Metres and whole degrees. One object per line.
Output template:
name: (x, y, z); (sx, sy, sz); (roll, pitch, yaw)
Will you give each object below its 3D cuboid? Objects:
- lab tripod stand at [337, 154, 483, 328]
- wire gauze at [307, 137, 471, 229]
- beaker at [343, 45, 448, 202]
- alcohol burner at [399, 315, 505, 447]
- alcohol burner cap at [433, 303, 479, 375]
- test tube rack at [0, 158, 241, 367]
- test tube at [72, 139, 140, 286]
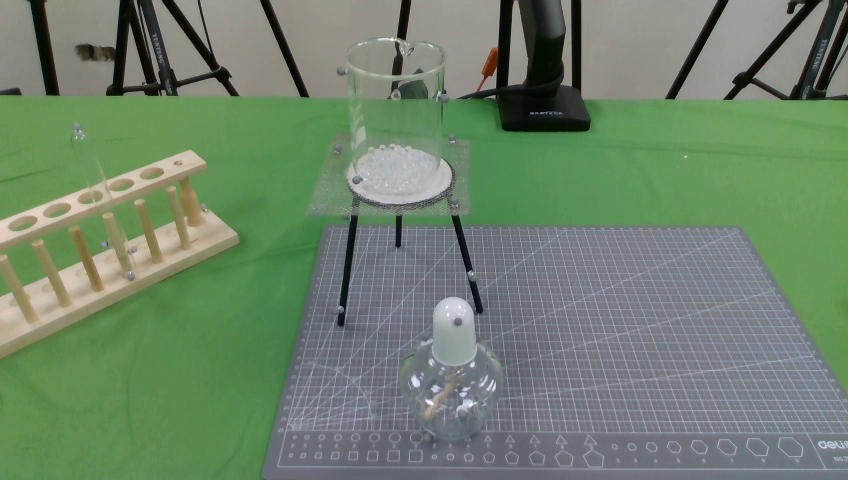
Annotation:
lab tripod stand: (-0.015, 0.003, 0.532); (0.148, 0.132, 0.147); (1, 37, -1)
wire gauze: (-0.023, -0.048, 0.490); (0.121, 0.011, 0.124); (2, 40, 2)
beaker: (-0.021, -0.088, 0.461); (0.074, 0.101, 0.083); (8, 38, 7)
alcohol burner: (0.020, 0.093, 0.433); (0.078, 0.120, 0.077); (1, 40, 0)
alcohol burner cap: (0.021, 0.064, 0.411); (0.034, 0.048, 0.033); (-2, 38, 2)
test tube rack: (-0.302, 0.014, 0.562); (0.242, 0.086, 0.066); (-30, 47, -33)
test tube: (-0.278, -0.020, 0.533); (0.017, 0.151, 0.017); (1, 37, 0)
